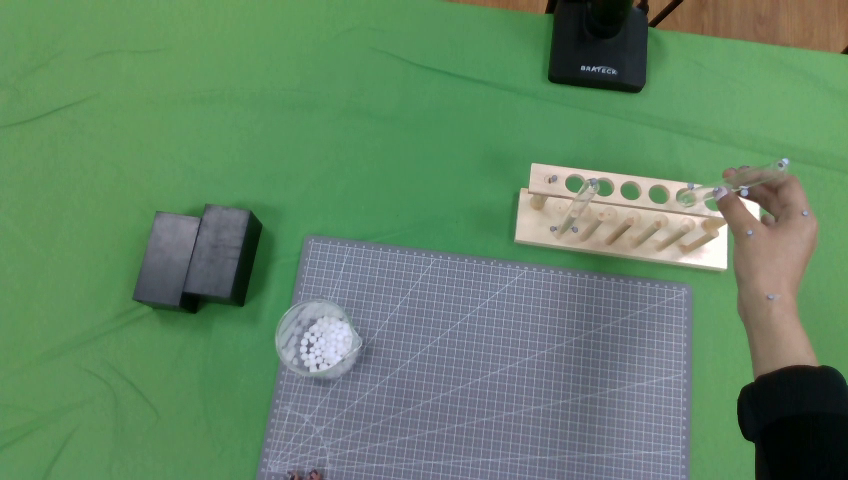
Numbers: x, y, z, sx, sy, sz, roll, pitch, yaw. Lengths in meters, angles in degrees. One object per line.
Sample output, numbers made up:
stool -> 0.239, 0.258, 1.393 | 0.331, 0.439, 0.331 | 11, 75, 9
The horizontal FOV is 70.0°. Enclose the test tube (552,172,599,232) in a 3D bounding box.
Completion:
test tube -> 0.156, -0.036, 0.630 | 0.017, 0.151, 0.017 | 0, 73, 0

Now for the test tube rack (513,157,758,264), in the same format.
test tube rack -> 0.229, -0.031, 0.676 | 0.242, 0.085, 0.066 | 8, 74, 2

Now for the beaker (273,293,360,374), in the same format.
beaker -> -0.103, 0.100, 0.625 | 0.084, 0.101, 0.073 | 8, 75, 1

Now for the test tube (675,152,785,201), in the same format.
test tube -> 0.282, -0.057, 0.571 | 0.017, 0.150, 0.017 | 1, 83, -7
